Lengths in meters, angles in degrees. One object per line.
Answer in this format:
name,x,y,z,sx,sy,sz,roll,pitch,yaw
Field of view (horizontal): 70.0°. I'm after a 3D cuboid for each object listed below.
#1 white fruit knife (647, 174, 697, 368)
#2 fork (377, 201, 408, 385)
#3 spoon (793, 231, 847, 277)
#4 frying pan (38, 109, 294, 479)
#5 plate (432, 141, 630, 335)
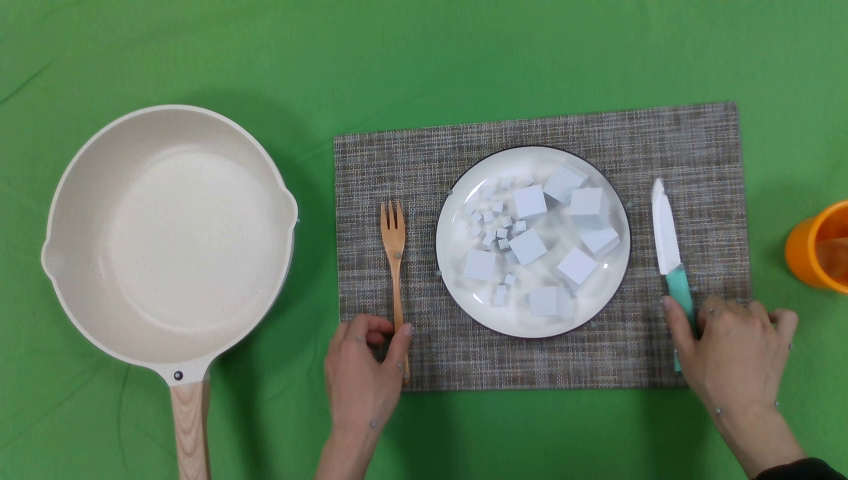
white fruit knife,0.262,0.031,0.643,0.027,0.016,0.207,-11,86,26
fork,-0.033,0.059,0.683,0.028,0.018,0.206,-5,84,-5
spoon,0.437,-0.017,0.561,0.021,0.194,0.041,-32,82,-40
frying pan,-0.268,0.099,0.674,0.306,0.103,0.485,-11,76,8
plate,0.113,-0.002,0.657,0.207,0.039,0.207,-1,86,8
